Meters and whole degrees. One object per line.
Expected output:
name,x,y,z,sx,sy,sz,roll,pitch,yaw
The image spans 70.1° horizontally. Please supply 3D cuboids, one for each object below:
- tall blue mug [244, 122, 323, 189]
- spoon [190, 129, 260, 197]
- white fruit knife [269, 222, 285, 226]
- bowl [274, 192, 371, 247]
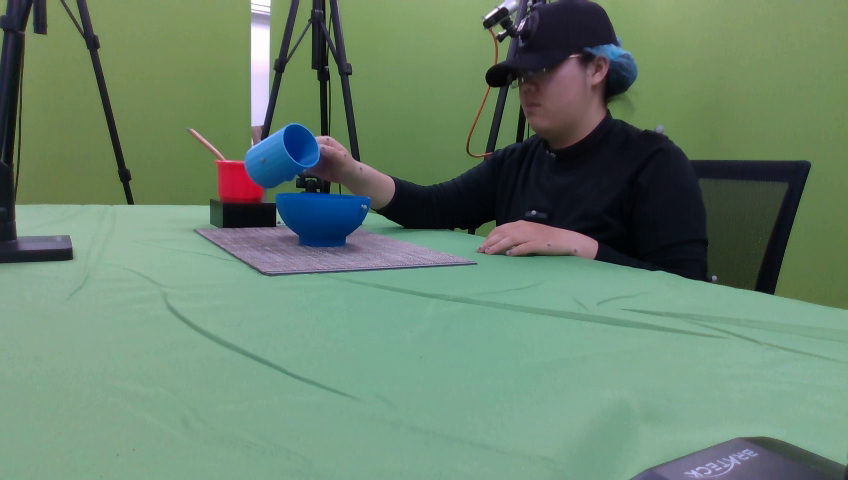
tall blue mug,-0.234,-0.149,1.027,0.107,0.078,0.107,-22,23,38
spoon,-0.388,-0.150,1.174,0.193,0.021,0.042,48,19,7
white fruit knife,-0.222,-0.037,1.261,0.208,0.016,0.027,-4,-17,-32
bowl,-0.161,-0.033,0.958,0.151,0.077,0.151,3,7,0
